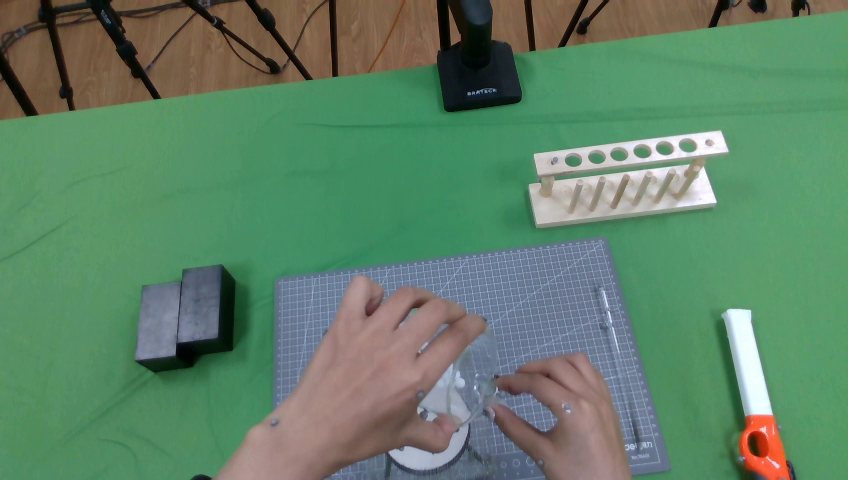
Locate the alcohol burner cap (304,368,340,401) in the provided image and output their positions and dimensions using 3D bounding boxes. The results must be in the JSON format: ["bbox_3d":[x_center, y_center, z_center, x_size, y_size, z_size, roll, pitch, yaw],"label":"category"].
[{"bbox_3d":[-0.112,0.154,0.653,0.034,0.048,0.033,-3,68,7],"label":"alcohol burner cap"}]

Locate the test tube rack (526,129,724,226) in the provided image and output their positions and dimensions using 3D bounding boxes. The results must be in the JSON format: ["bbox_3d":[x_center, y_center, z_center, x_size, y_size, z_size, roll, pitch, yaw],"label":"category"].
[{"bbox_3d":[0.265,-0.081,0.806,0.242,0.086,0.066,-7,63,1],"label":"test tube rack"}]

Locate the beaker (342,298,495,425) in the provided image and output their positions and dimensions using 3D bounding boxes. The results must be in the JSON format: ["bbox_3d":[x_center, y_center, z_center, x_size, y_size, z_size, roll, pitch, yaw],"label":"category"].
[{"bbox_3d":[-0.005,0.090,0.470,0.099,0.085,0.074,15,76,29],"label":"beaker"}]

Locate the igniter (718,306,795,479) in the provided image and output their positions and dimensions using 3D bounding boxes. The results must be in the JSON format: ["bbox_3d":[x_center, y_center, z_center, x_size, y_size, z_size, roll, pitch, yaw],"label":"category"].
[{"bbox_3d":[0.377,0.207,0.686,0.057,0.025,0.274,4,63,-5],"label":"igniter"}]

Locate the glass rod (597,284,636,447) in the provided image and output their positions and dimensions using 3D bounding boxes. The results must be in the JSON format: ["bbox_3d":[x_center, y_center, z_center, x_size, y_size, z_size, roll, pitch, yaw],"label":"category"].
[{"bbox_3d":[0.232,0.147,0.733,0.008,0.008,0.198,-6,66,1],"label":"glass rod"}]

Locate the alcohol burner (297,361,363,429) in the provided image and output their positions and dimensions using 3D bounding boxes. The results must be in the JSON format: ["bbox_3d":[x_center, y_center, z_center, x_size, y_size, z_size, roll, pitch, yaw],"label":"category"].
[{"bbox_3d":[-0.109,0.170,0.685,0.078,0.120,0.077,-2,61,4],"label":"alcohol burner"}]

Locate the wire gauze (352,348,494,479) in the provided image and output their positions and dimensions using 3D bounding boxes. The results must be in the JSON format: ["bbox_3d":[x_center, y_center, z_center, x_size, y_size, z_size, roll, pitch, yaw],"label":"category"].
[{"bbox_3d":[-0.004,0.172,0.590,0.125,0.011,0.120,-10,62,-1],"label":"wire gauze"}]

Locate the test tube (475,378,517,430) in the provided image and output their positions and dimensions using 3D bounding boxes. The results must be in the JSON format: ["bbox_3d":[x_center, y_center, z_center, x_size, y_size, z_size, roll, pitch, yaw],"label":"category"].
[{"bbox_3d":[0.067,0.151,0.546,0.017,0.152,0.017,-7,61,13],"label":"test tube"}]

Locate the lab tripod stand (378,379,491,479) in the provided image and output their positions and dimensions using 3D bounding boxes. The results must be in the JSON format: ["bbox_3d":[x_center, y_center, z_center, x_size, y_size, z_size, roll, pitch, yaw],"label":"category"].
[{"bbox_3d":[0.002,0.206,0.649,0.148,0.132,0.147,-2,62,5],"label":"lab tripod stand"}]
